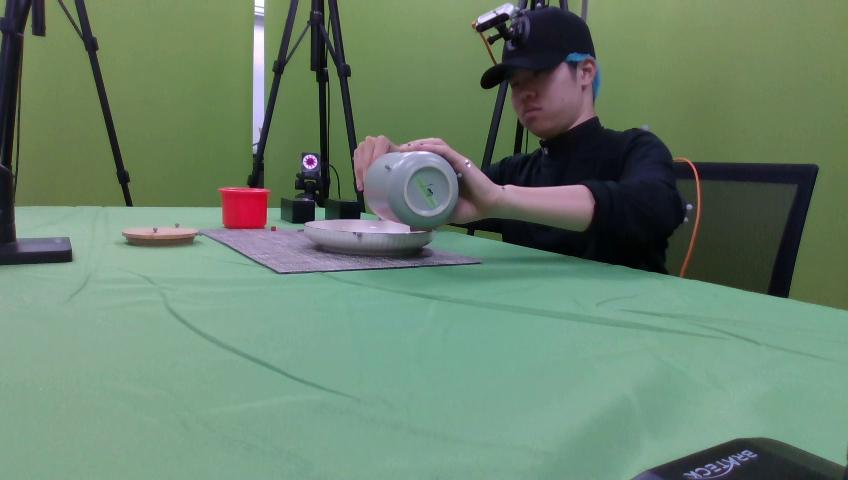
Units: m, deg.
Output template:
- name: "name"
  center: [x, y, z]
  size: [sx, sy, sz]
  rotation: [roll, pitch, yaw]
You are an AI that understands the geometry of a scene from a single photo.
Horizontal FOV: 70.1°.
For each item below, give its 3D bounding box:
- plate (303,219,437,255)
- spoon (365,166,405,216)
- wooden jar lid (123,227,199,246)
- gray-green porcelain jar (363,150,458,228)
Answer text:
- name: "plate"
  center: [-0.084, -0.005, 0.952]
  size: [0.208, 0.039, 0.207]
  rotation: [3, 7, 0]
- name: "spoon"
  center: [-0.070, -0.082, 0.961]
  size: [0.042, 0.021, 0.193]
  rotation: [22, 14, -28]
- name: "wooden jar lid"
  center: [-0.408, -0.006, 0.942]
  size: [0.108, 0.020, 0.108]
  rotation: [3, 6, 0]
- name: "gray-green porcelain jar"
  center: [-0.018, -0.073, 0.850]
  size: [0.106, 0.106, 0.126]
  rotation: [0, 6, -23]
